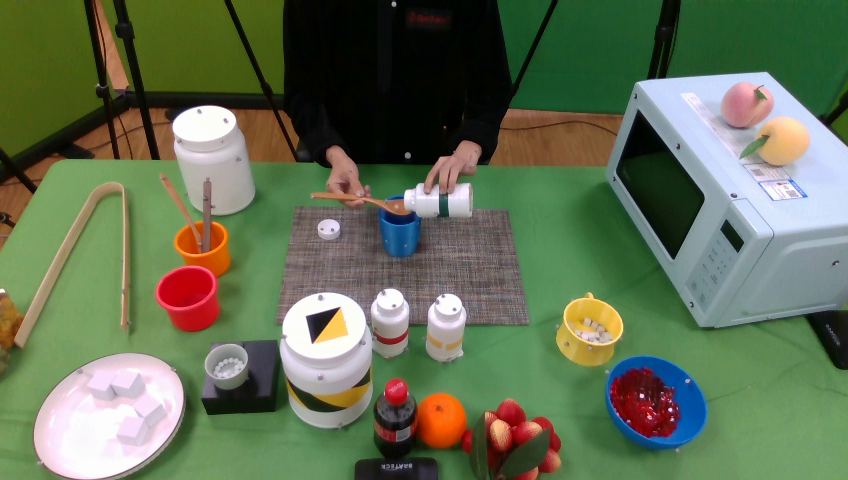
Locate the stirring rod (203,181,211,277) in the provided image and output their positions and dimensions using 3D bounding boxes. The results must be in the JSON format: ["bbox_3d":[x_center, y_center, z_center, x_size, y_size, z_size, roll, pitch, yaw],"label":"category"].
[{"bbox_3d":[-0.396,-0.021,1.108,0.014,0.006,0.176,0,89,-2],"label":"stirring rod"}]

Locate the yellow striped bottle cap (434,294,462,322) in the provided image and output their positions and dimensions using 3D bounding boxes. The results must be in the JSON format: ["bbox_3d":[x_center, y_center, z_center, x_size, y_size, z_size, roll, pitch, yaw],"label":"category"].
[{"bbox_3d":[0.038,0.107,0.958,0.044,0.019,0.044,2,45,-2],"label":"yellow striped bottle cap"}]

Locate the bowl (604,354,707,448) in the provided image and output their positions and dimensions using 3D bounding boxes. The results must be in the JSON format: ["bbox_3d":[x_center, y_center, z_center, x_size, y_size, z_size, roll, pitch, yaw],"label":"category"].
[{"bbox_3d":[0.346,0.261,0.937,0.151,0.077,0.150,2,46,-2],"label":"bowl"}]

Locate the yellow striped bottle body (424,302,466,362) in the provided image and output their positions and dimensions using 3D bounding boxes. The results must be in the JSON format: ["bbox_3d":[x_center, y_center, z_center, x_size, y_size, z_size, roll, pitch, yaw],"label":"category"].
[{"bbox_3d":[0.035,0.143,0.995,0.063,0.121,0.062,3,46,-2],"label":"yellow striped bottle body"}]

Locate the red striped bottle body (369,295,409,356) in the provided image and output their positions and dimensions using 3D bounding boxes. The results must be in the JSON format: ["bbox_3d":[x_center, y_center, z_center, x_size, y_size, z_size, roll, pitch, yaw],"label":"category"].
[{"bbox_3d":[-0.059,0.134,0.997,0.063,0.120,0.062,5,47,-5],"label":"red striped bottle body"}]

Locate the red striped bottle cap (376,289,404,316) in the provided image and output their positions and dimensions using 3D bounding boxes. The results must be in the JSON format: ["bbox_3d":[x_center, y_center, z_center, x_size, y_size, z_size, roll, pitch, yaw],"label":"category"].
[{"bbox_3d":[-0.055,0.098,0.958,0.044,0.018,0.044,0,48,1],"label":"red striped bottle cap"}]

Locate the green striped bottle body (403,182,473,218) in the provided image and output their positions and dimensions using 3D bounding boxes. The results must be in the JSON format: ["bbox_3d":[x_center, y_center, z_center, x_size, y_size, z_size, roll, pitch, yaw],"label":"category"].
[{"bbox_3d":[0.025,-0.072,1.087,0.119,0.063,0.063,2,45,11],"label":"green striped bottle body"}]

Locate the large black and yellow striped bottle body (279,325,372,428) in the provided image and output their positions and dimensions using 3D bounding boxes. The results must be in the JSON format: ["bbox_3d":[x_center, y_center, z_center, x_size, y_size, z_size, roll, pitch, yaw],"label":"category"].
[{"bbox_3d":[-0.143,0.181,0.900,0.131,0.185,0.130,2,46,-2],"label":"large black and yellow striped bottle body"}]

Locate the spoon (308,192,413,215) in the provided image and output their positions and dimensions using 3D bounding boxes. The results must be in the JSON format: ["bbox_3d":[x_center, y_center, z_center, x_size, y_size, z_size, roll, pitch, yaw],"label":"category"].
[{"bbox_3d":[-0.110,-0.071,1.089,0.194,0.022,0.041,9,47,-20],"label":"spoon"}]

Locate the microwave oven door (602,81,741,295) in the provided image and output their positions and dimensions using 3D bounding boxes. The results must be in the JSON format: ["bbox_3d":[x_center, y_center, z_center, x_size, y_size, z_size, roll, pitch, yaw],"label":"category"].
[{"bbox_3d":[0.456,-0.107,1.162,0.039,0.245,0.353,-7,47,-11],"label":"microwave oven door"}]

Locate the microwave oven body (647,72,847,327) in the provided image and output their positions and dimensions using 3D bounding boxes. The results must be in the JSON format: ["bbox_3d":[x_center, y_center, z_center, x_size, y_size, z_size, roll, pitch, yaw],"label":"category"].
[{"bbox_3d":[0.607,-0.089,1.164,0.326,0.261,0.438,-7,46,-10],"label":"microwave oven body"}]

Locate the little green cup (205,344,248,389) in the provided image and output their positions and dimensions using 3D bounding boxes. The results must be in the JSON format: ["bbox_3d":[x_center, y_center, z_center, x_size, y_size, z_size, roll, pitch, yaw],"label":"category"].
[{"bbox_3d":[-0.293,0.191,0.909,0.061,0.039,0.061,1,47,-1],"label":"little green cup"}]

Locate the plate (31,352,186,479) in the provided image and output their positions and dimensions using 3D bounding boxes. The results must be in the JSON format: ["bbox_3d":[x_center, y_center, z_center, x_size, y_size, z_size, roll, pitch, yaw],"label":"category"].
[{"bbox_3d":[-0.459,0.262,0.898,0.209,0.038,0.208,2,46,-2],"label":"plate"}]

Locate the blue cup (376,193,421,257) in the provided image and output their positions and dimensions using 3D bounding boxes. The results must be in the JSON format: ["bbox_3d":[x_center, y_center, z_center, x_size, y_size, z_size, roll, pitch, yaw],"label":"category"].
[{"bbox_3d":[-0.048,-0.022,1.155,0.093,0.101,0.092,1,47,-1],"label":"blue cup"}]

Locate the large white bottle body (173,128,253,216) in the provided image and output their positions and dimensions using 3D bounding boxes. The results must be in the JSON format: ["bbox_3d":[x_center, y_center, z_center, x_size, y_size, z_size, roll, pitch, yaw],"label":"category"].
[{"bbox_3d":[-0.416,-0.154,1.199,0.131,0.185,0.130,2,46,-2],"label":"large white bottle body"}]

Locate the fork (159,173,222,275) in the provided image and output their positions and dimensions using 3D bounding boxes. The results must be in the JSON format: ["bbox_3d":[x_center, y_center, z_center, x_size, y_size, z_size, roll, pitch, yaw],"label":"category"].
[{"bbox_3d":[-0.427,-0.029,1.103,0.028,0.018,0.207,-31,99,-30],"label":"fork"}]

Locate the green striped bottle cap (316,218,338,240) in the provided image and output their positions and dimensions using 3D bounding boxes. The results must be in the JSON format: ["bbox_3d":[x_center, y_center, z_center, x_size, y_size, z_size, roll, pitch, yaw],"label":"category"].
[{"bbox_3d":[-0.192,-0.022,1.204,0.044,0.020,0.044,2,50,-2],"label":"green striped bottle cap"}]

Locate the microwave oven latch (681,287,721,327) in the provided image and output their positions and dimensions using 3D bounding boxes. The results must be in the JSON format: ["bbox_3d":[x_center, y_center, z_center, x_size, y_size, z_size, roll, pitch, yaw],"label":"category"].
[{"bbox_3d":[0.494,0.119,1.087,0.030,0.029,0.078,-6,46,-9],"label":"microwave oven latch"}]

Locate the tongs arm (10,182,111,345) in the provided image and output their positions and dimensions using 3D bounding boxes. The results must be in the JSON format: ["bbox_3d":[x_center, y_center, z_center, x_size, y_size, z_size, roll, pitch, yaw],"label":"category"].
[{"bbox_3d":[-0.658,0.027,1.109,0.028,0.028,0.385,-2,45,2],"label":"tongs arm"}]

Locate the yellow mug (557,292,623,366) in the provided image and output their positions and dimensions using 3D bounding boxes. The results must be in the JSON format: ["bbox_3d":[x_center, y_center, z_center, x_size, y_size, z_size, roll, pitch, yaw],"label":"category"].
[{"bbox_3d":[0.285,0.145,1.051,0.100,0.064,0.130,7,45,4],"label":"yellow mug"}]

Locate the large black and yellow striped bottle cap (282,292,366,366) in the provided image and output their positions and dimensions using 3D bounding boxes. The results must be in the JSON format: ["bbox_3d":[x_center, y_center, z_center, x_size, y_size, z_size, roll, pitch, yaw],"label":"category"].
[{"bbox_3d":[-0.138,0.121,0.841,0.115,0.019,0.114,3,47,-3],"label":"large black and yellow striped bottle cap"}]

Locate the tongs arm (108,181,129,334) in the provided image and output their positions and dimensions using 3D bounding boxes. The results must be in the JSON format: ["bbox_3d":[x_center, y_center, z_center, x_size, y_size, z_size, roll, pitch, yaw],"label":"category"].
[{"bbox_3d":[-0.571,0.019,1.123,0.051,0.026,0.382,-11,47,-12],"label":"tongs arm"}]

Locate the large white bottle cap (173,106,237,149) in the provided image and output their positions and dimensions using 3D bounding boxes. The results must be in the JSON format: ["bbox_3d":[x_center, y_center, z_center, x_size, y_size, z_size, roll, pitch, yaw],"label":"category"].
[{"bbox_3d":[-0.411,-0.212,1.138,0.115,0.018,0.114,2,47,-2],"label":"large white bottle cap"}]
